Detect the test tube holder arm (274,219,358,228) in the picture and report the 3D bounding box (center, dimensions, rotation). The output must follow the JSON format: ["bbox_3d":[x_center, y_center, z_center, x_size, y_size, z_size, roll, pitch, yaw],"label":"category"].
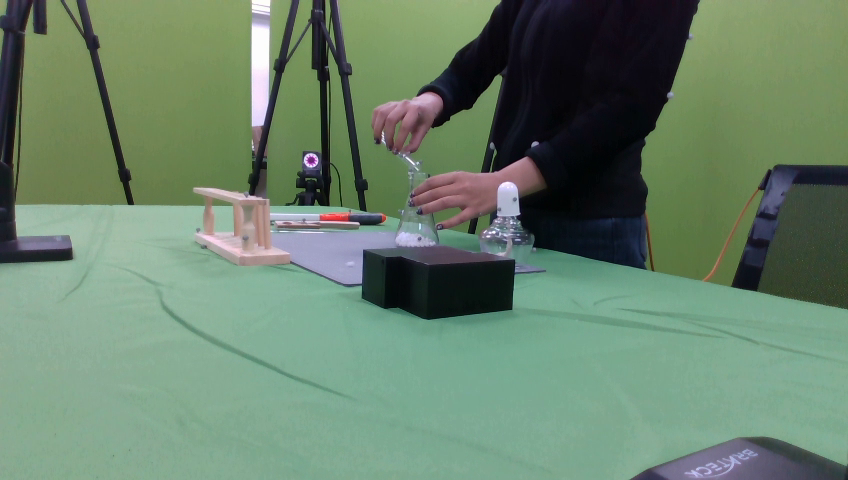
[{"bbox_3d":[-0.206,-0.032,1.177,0.179,0.015,0.013,-4,47,-40],"label":"test tube holder arm"}]

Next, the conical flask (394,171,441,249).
[{"bbox_3d":[-0.009,-0.050,0.969,0.075,0.122,0.075,2,7,0],"label":"conical flask"}]

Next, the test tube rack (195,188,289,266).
[{"bbox_3d":[-0.266,-0.025,0.864,0.067,0.085,0.241,-2,9,-33],"label":"test tube rack"}]

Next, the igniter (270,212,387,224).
[{"bbox_3d":[-0.213,-0.048,1.278,0.278,0.025,0.057,-1,-2,-25],"label":"igniter"}]

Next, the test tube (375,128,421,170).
[{"bbox_3d":[-0.047,-0.156,1.020,0.017,0.017,0.149,-3,32,-33],"label":"test tube"}]

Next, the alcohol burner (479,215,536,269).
[{"bbox_3d":[0.114,-0.021,0.816,0.078,0.119,0.078,2,9,0],"label":"alcohol burner"}]

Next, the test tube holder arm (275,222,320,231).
[{"bbox_3d":[-0.238,-0.026,1.145,0.088,0.015,0.010,-3,46,-39],"label":"test tube holder arm"}]

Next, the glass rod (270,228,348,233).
[{"bbox_3d":[-0.235,-0.017,1.105,0.201,0.008,0.008,1,7,-26],"label":"glass rod"}]

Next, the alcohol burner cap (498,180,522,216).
[{"bbox_3d":[0.114,-0.056,0.810,0.034,0.048,0.034,-5,12,1],"label":"alcohol burner cap"}]
